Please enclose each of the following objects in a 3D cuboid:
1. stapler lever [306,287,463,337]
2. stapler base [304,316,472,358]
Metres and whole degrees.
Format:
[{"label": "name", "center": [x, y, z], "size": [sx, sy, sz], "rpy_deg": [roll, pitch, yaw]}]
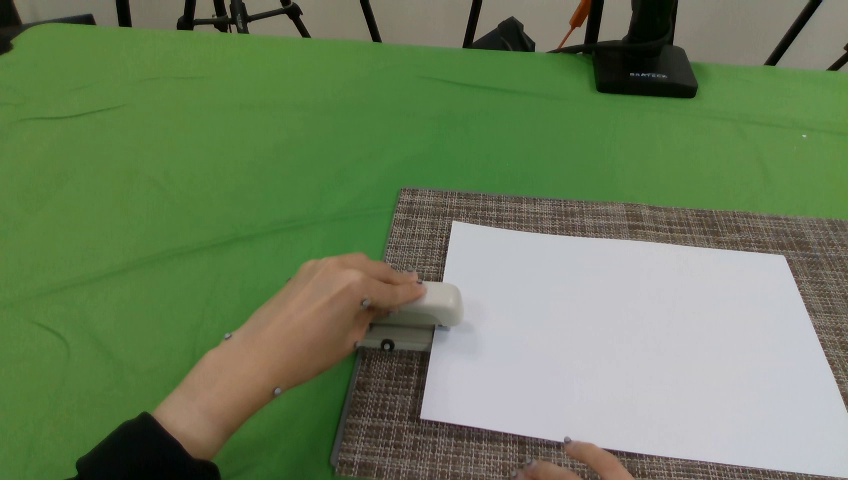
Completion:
[{"label": "stapler lever", "center": [-0.029, 0.052, 0.458], "size": [0.118, 0.040, 0.026], "rpy_deg": [7, 42, 2]}, {"label": "stapler base", "center": [-0.028, 0.066, 0.472], "size": [0.130, 0.024, 0.041], "rpy_deg": [3, 41, 5]}]
